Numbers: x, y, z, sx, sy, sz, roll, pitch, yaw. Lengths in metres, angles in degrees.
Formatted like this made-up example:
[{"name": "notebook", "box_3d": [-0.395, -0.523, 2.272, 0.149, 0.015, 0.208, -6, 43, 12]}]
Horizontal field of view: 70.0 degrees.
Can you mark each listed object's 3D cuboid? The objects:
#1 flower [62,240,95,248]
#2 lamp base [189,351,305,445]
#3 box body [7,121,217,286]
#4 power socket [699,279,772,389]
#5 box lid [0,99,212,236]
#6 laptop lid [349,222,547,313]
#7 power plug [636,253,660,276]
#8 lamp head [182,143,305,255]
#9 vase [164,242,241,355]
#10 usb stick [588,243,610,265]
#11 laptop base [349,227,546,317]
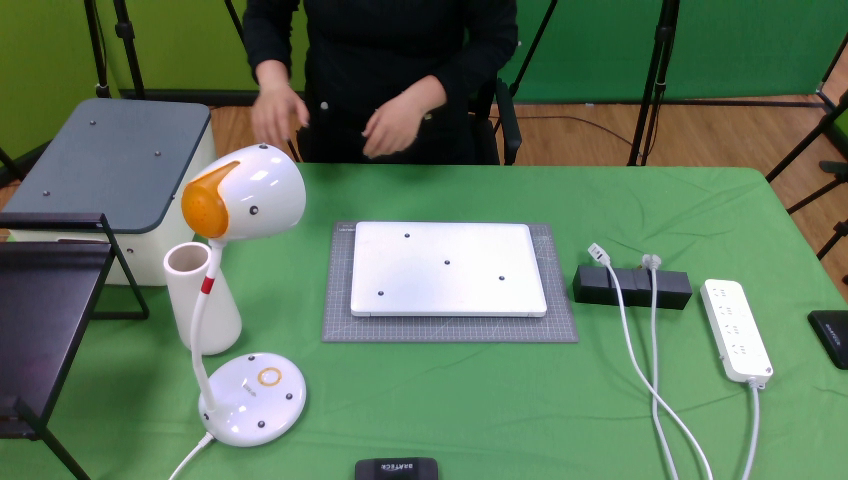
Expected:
[{"name": "flower", "box_3d": [-0.557, -0.053, 1.195, 0.044, 0.038, 0.361, 47, 54, 1]}, {"name": "lamp base", "box_3d": [-0.268, 0.196, 0.876, 0.160, 0.181, 0.179, 26, 52, 20]}, {"name": "box body", "box_3d": [-0.560, -0.092, 1.145, 0.254, 0.161, 0.361, 3, 46, -2]}, {"name": "power socket", "box_3d": [0.551, 0.157, 1.081, 0.072, 0.033, 0.225, 5, 46, 1]}, {"name": "box lid", "box_3d": [-0.556, -0.143, 1.090, 0.263, 0.015, 0.369, 2, 46, -1]}, {"name": "laptop lid", "box_3d": [0.041, 0.045, 1.143, 0.357, 0.013, 0.240, 2, 44, -3]}, {"name": "power plug", "box_3d": [0.415, 0.050, 1.139, 0.035, 0.053, 0.072, 46, 49, 11]}, {"name": "lamp head", "box_3d": [-0.216, -0.044, 0.697, 0.112, 0.113, 0.123, 23, 31, 17]}, {"name": "vase", "box_3d": [-0.349, 0.096, 0.954, 0.098, 0.201, 0.097, 3, 47, -3]}, {"name": "usb stick", "box_3d": [0.336, 0.024, 1.172, 0.027, 0.021, 0.059, 32, 17, -12]}, {"name": "laptop base", "box_3d": [0.041, 0.055, 1.149, 0.355, 0.023, 0.234, 1, 43, -4]}]
